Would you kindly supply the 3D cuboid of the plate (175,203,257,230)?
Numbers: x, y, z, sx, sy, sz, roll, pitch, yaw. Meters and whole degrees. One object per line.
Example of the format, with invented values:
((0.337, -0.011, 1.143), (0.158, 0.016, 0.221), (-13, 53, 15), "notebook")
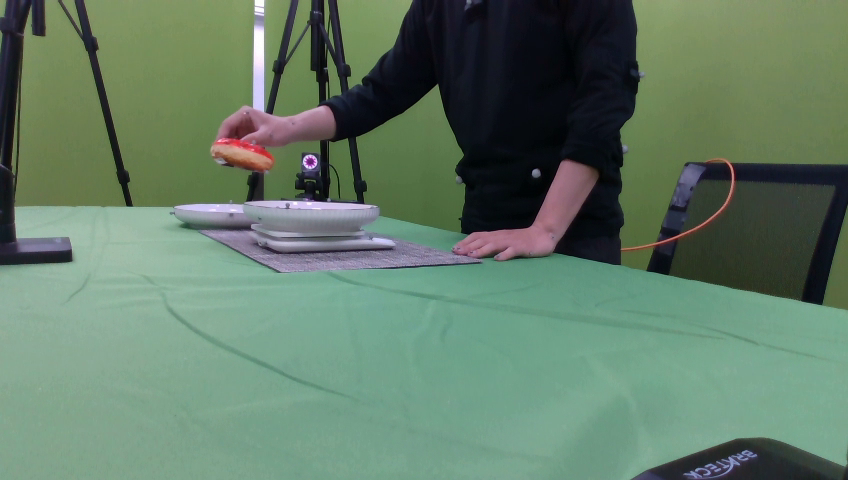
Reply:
((-0.380, -0.047, 1.199), (0.208, 0.039, 0.207), (3, 7, 0), "plate")

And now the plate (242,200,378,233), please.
((-0.175, -0.038, 0.939), (0.209, 0.038, 0.209), (3, 7, 0), "plate")

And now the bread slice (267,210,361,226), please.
((-0.174, -0.035, 0.934), (0.132, 0.019, 0.104), (0, 6, -28), "bread slice")

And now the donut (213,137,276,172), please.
((-0.292, -0.137, 0.986), (0.099, 0.048, 0.099), (12, -2, 1), "donut")

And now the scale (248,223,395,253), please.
((-0.161, -0.006, 0.954), (0.202, 0.031, 0.148), (-2, 8, -32), "scale")
